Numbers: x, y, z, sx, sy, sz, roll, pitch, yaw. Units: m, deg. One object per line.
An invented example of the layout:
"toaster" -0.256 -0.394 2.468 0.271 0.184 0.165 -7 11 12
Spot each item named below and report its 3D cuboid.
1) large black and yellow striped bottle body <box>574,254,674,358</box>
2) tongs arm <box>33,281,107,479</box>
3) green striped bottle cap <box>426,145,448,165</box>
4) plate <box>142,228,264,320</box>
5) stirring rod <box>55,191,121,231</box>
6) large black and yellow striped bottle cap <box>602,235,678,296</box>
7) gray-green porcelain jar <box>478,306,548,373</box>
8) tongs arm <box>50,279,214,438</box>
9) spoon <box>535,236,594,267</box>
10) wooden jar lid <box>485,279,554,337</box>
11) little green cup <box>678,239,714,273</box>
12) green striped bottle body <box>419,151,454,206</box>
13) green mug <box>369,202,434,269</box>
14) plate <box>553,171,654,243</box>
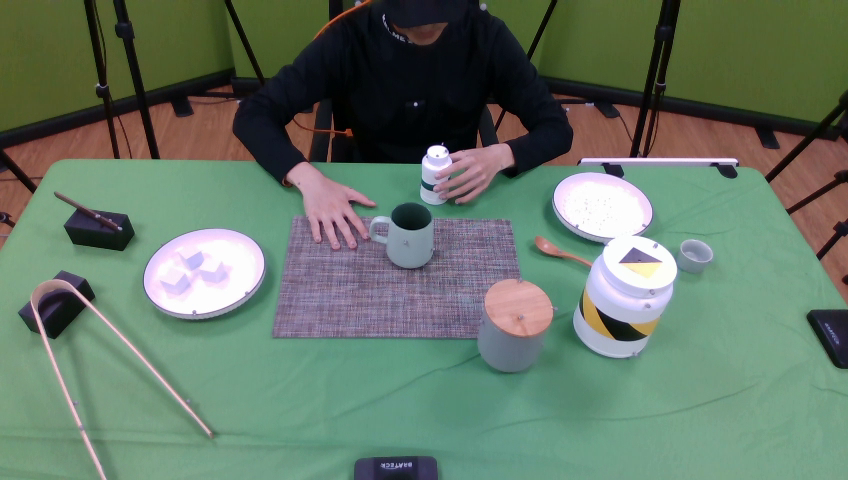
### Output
"large black and yellow striped bottle body" 0.335 0.096 1.014 0.131 0.185 0.130 2 46 -2
"tongs arm" -0.517 0.214 0.910 0.051 0.026 0.383 -29 63 -27
"green striped bottle cap" 0.027 -0.173 1.224 0.044 0.020 0.044 2 45 -2
"plate" -0.394 0.064 1.095 0.208 0.039 0.206 2 46 -2
"stirring rod" -0.632 -0.055 1.138 0.175 0.014 0.006 24 50 19
"large black and yellow striped bottle cap" 0.340 0.037 0.955 0.115 0.019 0.114 2 47 -1
"gray-green porcelain jar" 0.144 0.148 0.989 0.106 0.127 0.105 2 50 -2
"tongs arm" -0.459 0.178 0.949 0.386 0.028 0.028 37 60 17
"spoon" 0.303 0.040 1.178 0.193 0.022 0.041 25 32 19
"wooden jar lid" 0.147 0.108 0.940 0.108 0.021 0.107 4 47 -4
"little green cup" 0.530 0.033 1.190 0.061 0.039 0.061 2 46 -1
"green striped bottle body" 0.026 -0.134 1.262 0.063 0.120 0.063 5 43 -4
"green mug" -0.042 -0.010 1.140 0.125 0.105 0.092 7 47 4
"plate" 0.373 -0.066 1.275 0.209 0.038 0.208 2 46 -2
